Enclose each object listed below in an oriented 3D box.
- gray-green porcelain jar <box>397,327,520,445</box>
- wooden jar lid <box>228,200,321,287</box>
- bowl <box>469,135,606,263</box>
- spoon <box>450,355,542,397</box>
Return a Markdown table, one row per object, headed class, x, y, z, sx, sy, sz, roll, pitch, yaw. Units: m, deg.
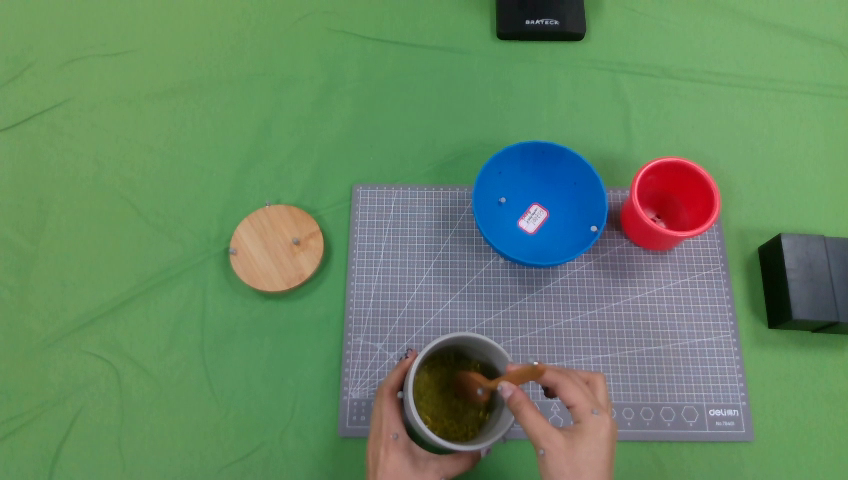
| class | x | y | z | sx | sy | sz | roll | pitch | yaw |
| --- | --- | --- | --- | --- | --- | --- | --- | --- | --- |
| gray-green porcelain jar | 0.028 | 0.149 | 0.604 | 0.106 | 0.127 | 0.105 | 2 | 73 | -8 |
| wooden jar lid | -0.174 | 0.005 | 0.714 | 0.108 | 0.021 | 0.107 | 0 | 71 | 0 |
| bowl | 0.125 | -0.036 | 0.698 | 0.151 | 0.077 | 0.150 | 0 | 71 | 0 |
| spoon | 0.063 | 0.124 | 0.548 | 0.041 | 0.194 | 0.021 | 45 | 69 | 2 |
